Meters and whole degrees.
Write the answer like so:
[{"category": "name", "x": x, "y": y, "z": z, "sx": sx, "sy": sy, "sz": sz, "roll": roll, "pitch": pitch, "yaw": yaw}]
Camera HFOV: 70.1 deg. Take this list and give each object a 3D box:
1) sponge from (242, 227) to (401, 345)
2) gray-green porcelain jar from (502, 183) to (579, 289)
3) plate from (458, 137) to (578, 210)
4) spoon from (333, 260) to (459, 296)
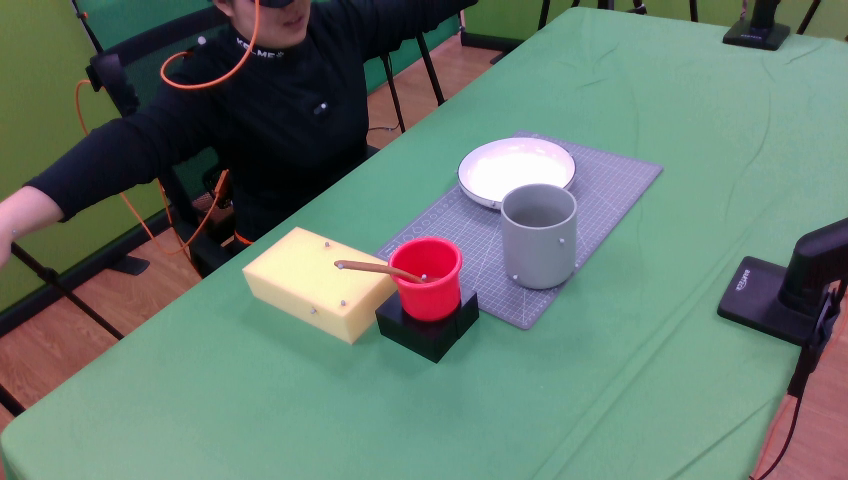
[{"category": "sponge", "x": -0.154, "y": 0.063, "z": 0.907, "sx": 0.205, "sy": 0.061, "sz": 0.118, "roll": 19, "pitch": 48, "yaw": 29}, {"category": "gray-green porcelain jar", "x": 0.166, "y": -0.001, "z": 0.866, "sx": 0.106, "sy": 0.127, "sz": 0.105, "roll": -5, "pitch": 40, "yaw": 5}, {"category": "plate", "x": 0.165, "y": -0.113, "z": 1.068, "sx": 0.207, "sy": 0.039, "sz": 0.206, "roll": -5, "pitch": 40, "yaw": 5}, {"category": "spoon", "x": -0.031, "y": 0.045, "z": 0.761, "sx": 0.195, "sy": 0.021, "sz": 0.041, "roll": 19, "pitch": 20, "yaw": -39}]
